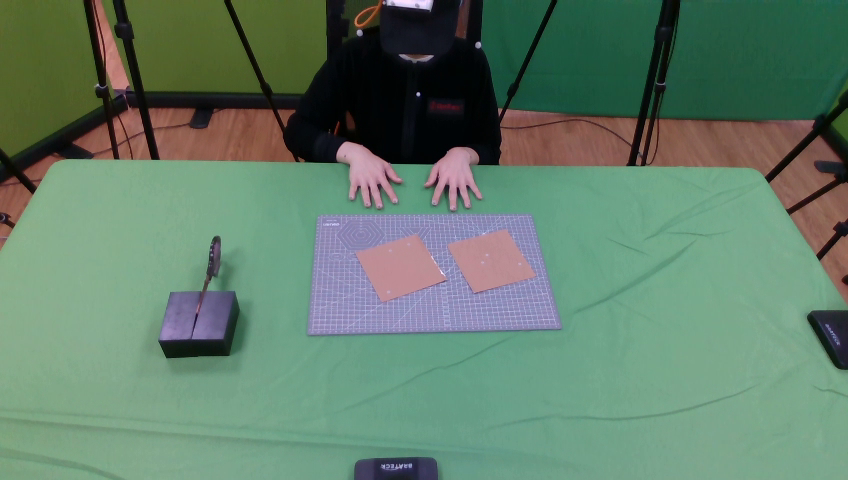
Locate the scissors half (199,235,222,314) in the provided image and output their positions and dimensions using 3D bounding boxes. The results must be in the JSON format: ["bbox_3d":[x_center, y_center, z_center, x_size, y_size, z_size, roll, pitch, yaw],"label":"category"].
[{"bbox_3d":[-0.374,0.058,1.057,0.013,0.040,0.174,9,49,-13],"label":"scissors half"}]

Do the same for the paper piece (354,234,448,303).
[{"bbox_3d":[-0.045,0.049,1.154,0.138,0.009,0.135,-17,46,-18],"label":"paper piece"}]

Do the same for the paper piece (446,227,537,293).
[{"bbox_3d":[0.130,0.037,1.177,0.136,0.004,0.134,-14,49,-16],"label":"paper piece"}]

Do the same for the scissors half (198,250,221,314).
[{"bbox_3d":[-0.379,0.073,1.070,0.013,0.040,0.174,6,32,-9],"label":"scissors half"}]
